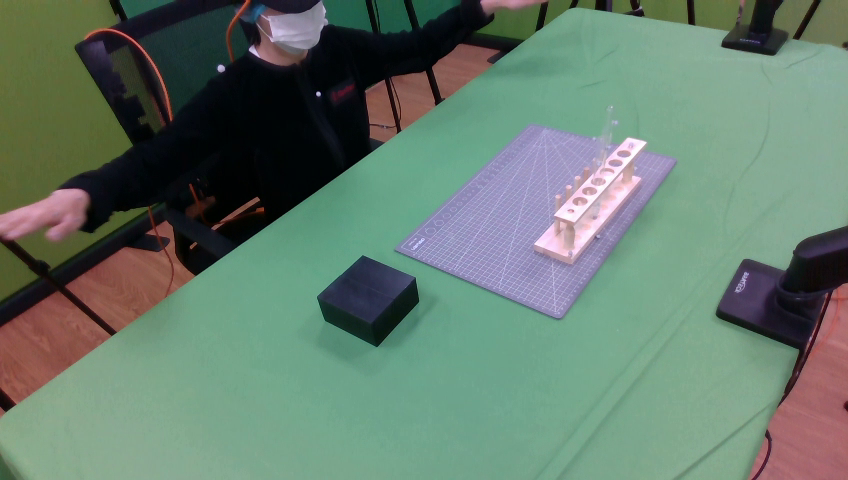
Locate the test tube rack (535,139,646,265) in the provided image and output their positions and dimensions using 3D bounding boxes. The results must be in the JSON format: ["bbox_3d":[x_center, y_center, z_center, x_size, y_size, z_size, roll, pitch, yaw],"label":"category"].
[{"bbox_3d":[0.268,-0.071,0.964,0.066,0.085,0.243,23,49,32],"label":"test tube rack"}]

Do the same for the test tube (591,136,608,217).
[{"bbox_3d":[0.264,-0.092,0.912,0.017,0.151,0.017,-5,44,6],"label":"test tube"}]

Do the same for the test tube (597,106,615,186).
[{"bbox_3d":[0.295,-0.150,0.984,0.017,0.151,0.017,-4,41,4],"label":"test tube"}]
